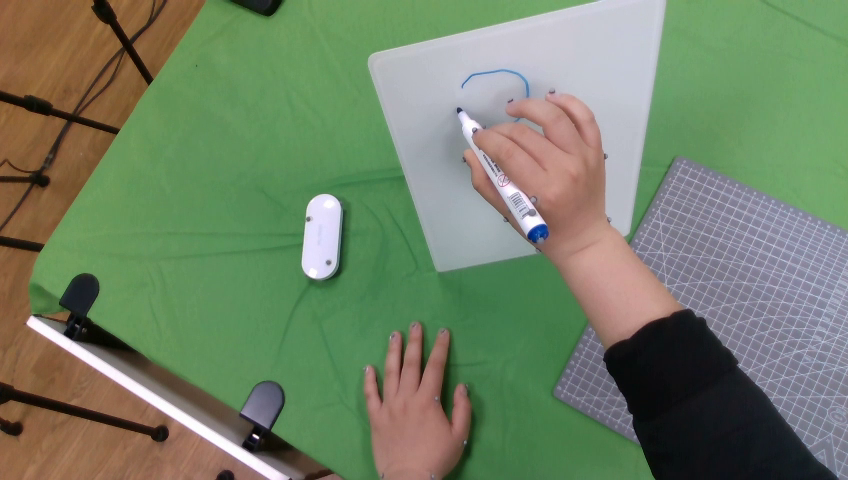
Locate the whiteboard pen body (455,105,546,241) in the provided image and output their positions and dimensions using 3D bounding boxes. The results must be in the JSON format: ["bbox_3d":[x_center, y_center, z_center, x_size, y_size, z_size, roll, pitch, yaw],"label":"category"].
[{"bbox_3d":[0.051,-0.055,0.444,0.017,0.017,0.139,-27,57,1],"label":"whiteboard pen body"}]

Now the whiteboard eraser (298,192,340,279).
[{"bbox_3d":[-0.120,-0.006,0.697,0.041,0.019,0.101,1,77,6],"label":"whiteboard eraser"}]

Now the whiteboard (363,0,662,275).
[{"bbox_3d":[0.083,-0.123,0.586,0.217,0.308,0.142,-11,55,5],"label":"whiteboard"}]
